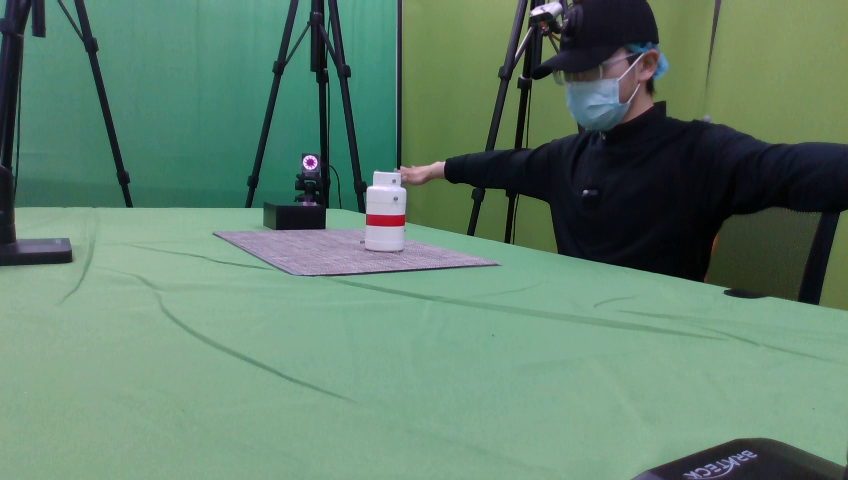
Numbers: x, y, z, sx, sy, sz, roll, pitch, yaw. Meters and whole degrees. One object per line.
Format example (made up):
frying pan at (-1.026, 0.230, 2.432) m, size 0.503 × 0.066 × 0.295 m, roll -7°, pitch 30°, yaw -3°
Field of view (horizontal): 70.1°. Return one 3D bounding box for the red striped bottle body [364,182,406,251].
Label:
red striped bottle body at (-0.060, -0.046, 0.943) m, size 0.063 × 0.119 × 0.063 m, roll 3°, pitch 7°, yaw 0°

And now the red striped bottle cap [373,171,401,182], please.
red striped bottle cap at (-0.058, -0.098, 0.936) m, size 0.044 × 0.017 × 0.044 m, roll 1°, pitch 5°, yaw 0°
